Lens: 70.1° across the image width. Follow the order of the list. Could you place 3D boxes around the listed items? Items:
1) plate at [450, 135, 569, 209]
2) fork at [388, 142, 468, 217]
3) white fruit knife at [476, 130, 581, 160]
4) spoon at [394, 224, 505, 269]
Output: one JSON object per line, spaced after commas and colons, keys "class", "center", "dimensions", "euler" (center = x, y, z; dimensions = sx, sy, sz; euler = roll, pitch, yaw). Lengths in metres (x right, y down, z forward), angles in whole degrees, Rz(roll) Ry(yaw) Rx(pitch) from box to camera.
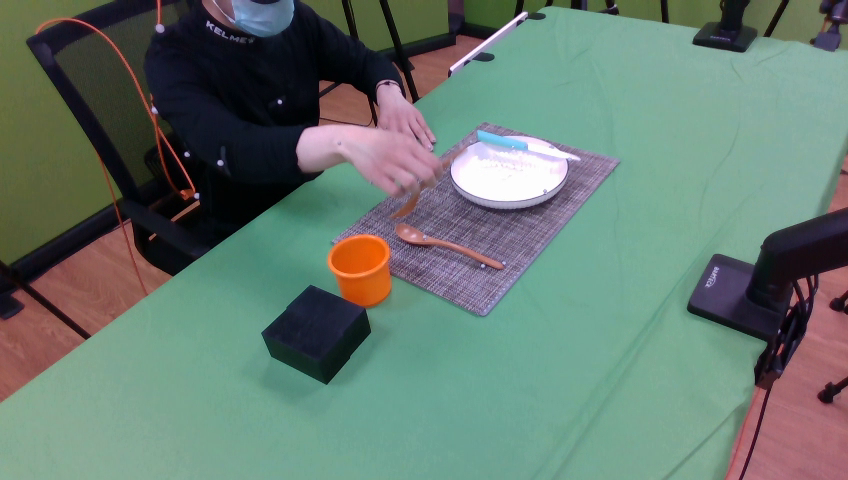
{"class": "plate", "center": [0.149, -0.117, 1.065], "dimensions": [0.209, 0.038, 0.208], "euler": [-4, 41, 4]}
{"class": "fork", "center": [0.004, -0.084, 0.893], "dimensions": [0.028, 0.207, 0.018], "euler": [-5, 63, -38]}
{"class": "white fruit knife", "center": [0.184, -0.170, 1.089], "dimensions": [0.206, 0.016, 0.027], "euler": [18, 42, 25]}
{"class": "spoon", "center": [0.037, 0.010, 0.945], "dimensions": [0.192, 0.022, 0.042], "euler": [17, 28, 26]}
